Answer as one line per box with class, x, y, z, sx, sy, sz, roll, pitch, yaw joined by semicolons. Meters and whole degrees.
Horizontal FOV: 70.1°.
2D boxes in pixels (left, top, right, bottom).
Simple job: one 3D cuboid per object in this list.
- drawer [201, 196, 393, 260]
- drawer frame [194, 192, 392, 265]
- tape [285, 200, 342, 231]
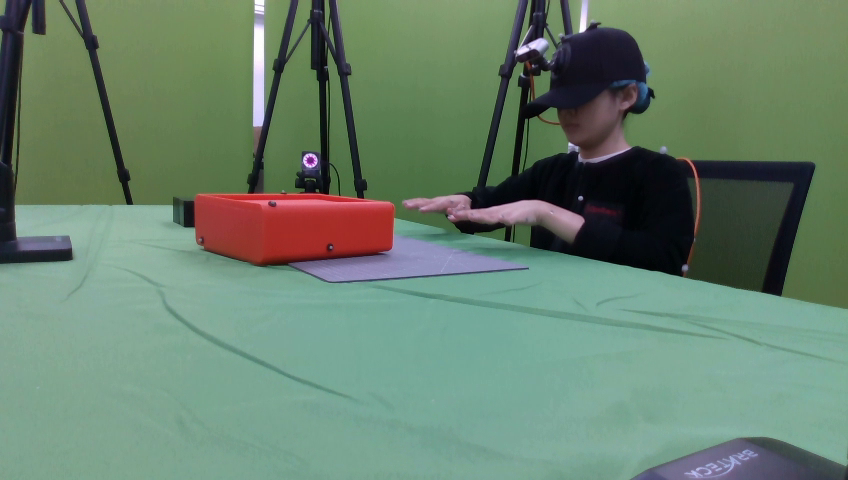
drawer;-0.186;-0.023;0.886;0.213;0.073;0.193;-5;11;-43
drawer frame;-0.190;-0.024;0.882;0.215;0.082;0.200;-5;11;-44
tape;-0.223;-0.051;1.221;0.117;0.052;0.117;3;7;0
